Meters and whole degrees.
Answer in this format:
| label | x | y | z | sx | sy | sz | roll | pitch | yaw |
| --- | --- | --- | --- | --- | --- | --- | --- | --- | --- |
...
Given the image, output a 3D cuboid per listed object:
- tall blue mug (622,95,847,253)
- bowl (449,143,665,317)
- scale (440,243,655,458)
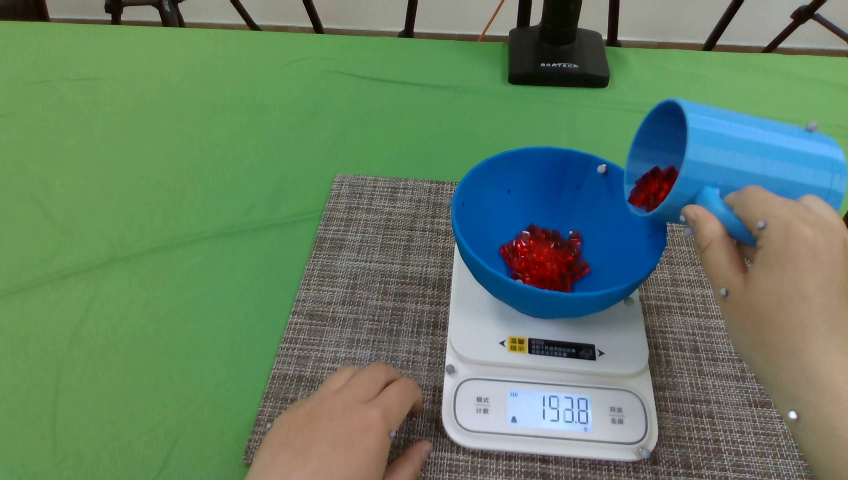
| label | x | y | z | sx | sy | sz | roll | pitch | yaw |
| --- | --- | --- | --- | --- | --- | --- | --- | --- | --- |
| tall blue mug | 0.198 | -0.041 | 0.377 | 0.108 | 0.078 | 0.106 | 10 | 10 | -9 |
| bowl | 0.091 | 0.005 | 0.451 | 0.151 | 0.077 | 0.150 | 1 | 47 | 0 |
| scale | 0.092 | 0.064 | 0.469 | 0.148 | 0.032 | 0.199 | 4 | 48 | 4 |
